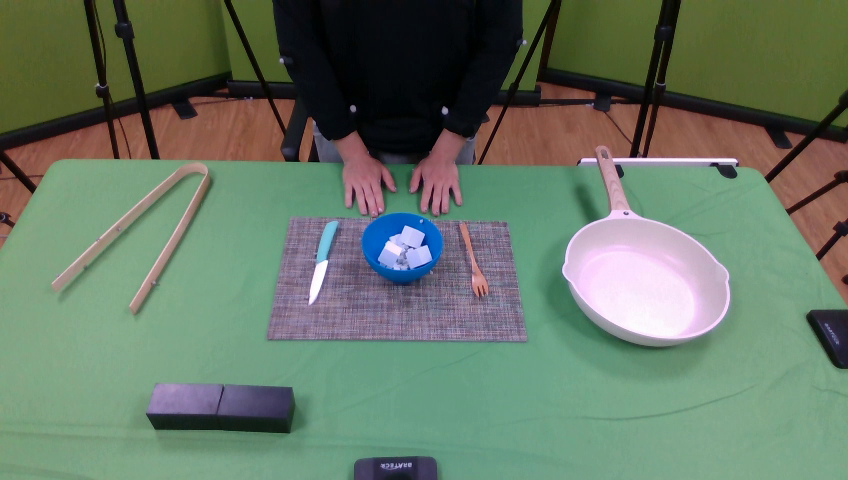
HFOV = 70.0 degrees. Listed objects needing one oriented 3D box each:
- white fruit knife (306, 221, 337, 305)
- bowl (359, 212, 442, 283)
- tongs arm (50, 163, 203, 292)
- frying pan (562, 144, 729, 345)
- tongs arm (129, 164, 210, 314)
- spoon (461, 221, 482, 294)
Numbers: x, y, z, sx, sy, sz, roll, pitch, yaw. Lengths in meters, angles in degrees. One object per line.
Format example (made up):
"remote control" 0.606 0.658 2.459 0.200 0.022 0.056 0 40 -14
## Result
"white fruit knife" -0.196 0.040 1.143 0.027 0.016 0.206 -1 46 8
"bowl" -0.044 0.026 1.125 0.151 0.077 0.150 2 46 -2
"tongs arm" -0.561 -0.036 1.178 0.050 0.026 0.383 16 46 11
"frying pan" 0.396 -0.008 1.179 0.307 0.103 0.484 1 55 -4
"tongs arm" -0.483 -0.016 1.170 0.028 0.028 0.385 4 46 4
"spoon" 0.087 0.031 1.169 0.042 0.022 0.192 11 47 -14
